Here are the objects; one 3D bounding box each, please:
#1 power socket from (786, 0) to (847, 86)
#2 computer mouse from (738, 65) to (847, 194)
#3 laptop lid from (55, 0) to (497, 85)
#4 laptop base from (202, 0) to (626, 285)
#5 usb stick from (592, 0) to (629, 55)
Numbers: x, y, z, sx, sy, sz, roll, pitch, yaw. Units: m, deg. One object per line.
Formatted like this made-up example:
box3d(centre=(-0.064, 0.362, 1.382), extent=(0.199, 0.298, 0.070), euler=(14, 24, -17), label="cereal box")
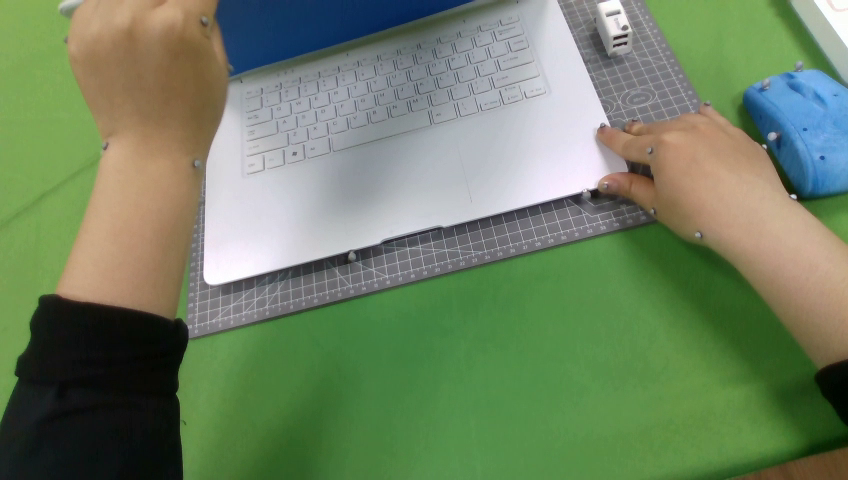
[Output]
box3d(centre=(0.349, -0.215, 0.509), extent=(0.072, 0.033, 0.224), euler=(-12, 58, 8), label="power socket")
box3d(centre=(0.286, -0.088, 0.447), extent=(0.063, 0.041, 0.116), euler=(-15, 53, 8), label="computer mouse")
box3d(centre=(-0.061, -0.196, 0.482), extent=(0.356, 0.241, 0.013), euler=(-14, 92, 7), label="laptop lid")
box3d(centre=(-0.030, -0.100, 0.542), extent=(0.354, 0.023, 0.233), euler=(-15, 61, 5), label="laptop base")
box3d(centre=(0.166, -0.197, 0.545), extent=(0.021, 0.027, 0.058), euler=(-13, 55, 8), label="usb stick")
